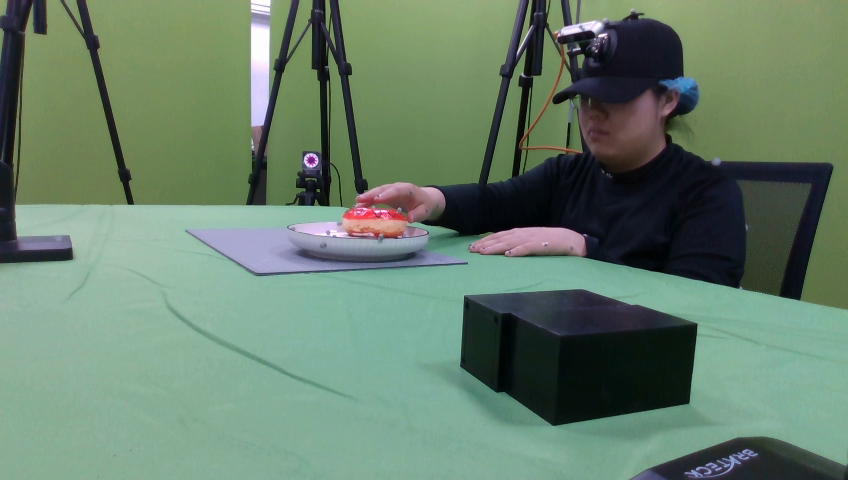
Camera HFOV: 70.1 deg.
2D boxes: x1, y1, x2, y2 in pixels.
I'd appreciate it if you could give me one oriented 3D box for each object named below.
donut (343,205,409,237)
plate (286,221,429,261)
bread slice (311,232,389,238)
[{"bbox_3d":[-0.072,-0.027,0.894,0.099,0.048,0.099,4,4,0],"label":"donut"},{"bbox_3d":[-0.096,0.001,0.886,0.209,0.038,0.209,2,7,0],"label":"plate"},{"bbox_3d":[-0.101,0.002,0.885,0.135,0.018,0.106,-3,8,-38],"label":"bread slice"}]
